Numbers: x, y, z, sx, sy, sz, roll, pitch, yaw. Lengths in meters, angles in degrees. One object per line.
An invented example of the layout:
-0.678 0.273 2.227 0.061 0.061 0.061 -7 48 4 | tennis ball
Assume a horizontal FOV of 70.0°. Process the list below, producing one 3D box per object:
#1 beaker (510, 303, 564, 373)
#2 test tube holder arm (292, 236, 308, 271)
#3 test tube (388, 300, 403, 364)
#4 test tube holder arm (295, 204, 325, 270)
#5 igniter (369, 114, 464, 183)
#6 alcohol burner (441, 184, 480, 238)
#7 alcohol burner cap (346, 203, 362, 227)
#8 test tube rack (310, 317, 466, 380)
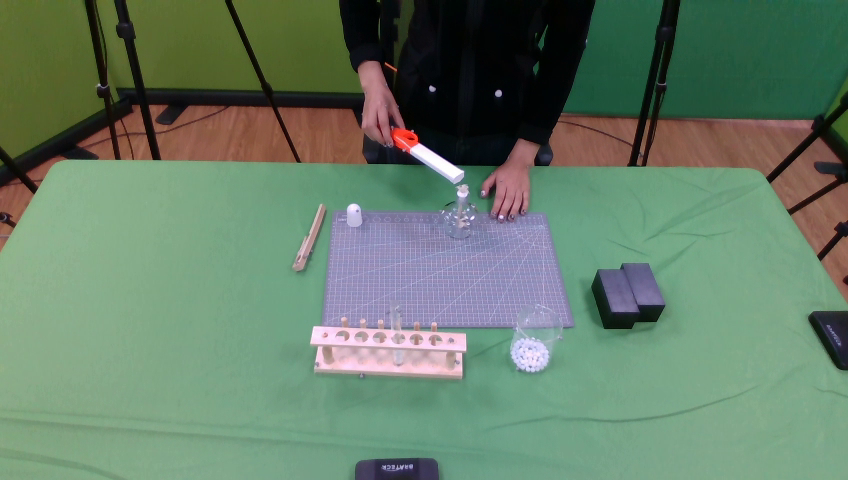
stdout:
0.182 0.164 1.000 0.074 0.101 0.083 2 46 -1 | beaker
-0.234 0.024 1.163 0.010 0.015 0.087 -18 38 29 | test tube holder arm
-0.044 0.146 0.942 0.017 0.151 0.017 -1 44 1 | test tube
-0.222 -0.009 1.192 0.013 0.015 0.177 -19 37 27 | test tube holder arm
-0.024 -0.192 1.234 0.057 0.025 0.275 -33 53 -27 | igniter
0.073 -0.061 1.195 0.078 0.120 0.077 1 47 -1 | alcohol burner
-0.141 -0.053 1.222 0.034 0.048 0.033 2 47 -2 | alcohol burner cap
-0.056 0.171 0.987 0.242 0.085 0.066 3 45 -1 | test tube rack
